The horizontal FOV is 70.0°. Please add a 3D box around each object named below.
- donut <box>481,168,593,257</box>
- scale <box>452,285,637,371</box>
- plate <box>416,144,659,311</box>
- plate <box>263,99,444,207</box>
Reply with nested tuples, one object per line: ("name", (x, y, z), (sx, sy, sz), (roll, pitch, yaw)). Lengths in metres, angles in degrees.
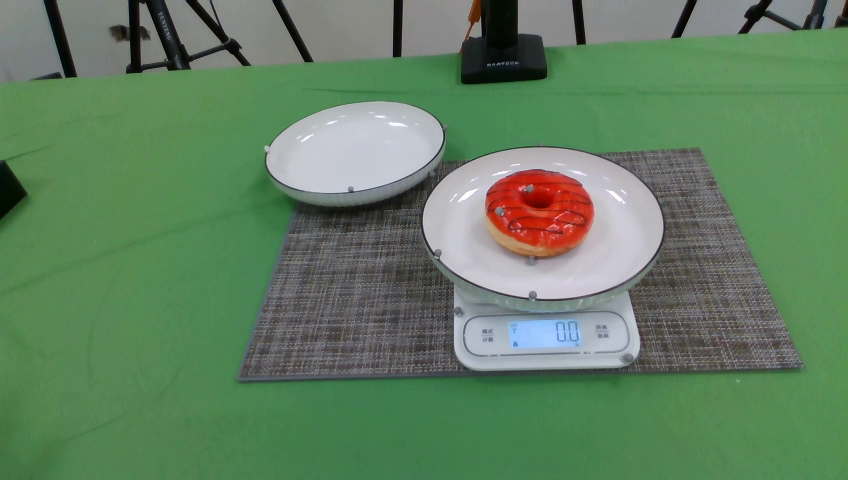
("donut", (0.099, -0.024, 0.535), (0.099, 0.049, 0.098), (-2, 43, 2))
("scale", (0.100, 0.028, 0.544), (0.148, 0.032, 0.199), (-2, 43, 6))
("plate", (0.097, -0.012, 0.539), (0.207, 0.039, 0.205), (-3, 42, 3))
("plate", (-0.080, -0.100, 0.707), (0.209, 0.038, 0.207), (-4, 40, 4))
